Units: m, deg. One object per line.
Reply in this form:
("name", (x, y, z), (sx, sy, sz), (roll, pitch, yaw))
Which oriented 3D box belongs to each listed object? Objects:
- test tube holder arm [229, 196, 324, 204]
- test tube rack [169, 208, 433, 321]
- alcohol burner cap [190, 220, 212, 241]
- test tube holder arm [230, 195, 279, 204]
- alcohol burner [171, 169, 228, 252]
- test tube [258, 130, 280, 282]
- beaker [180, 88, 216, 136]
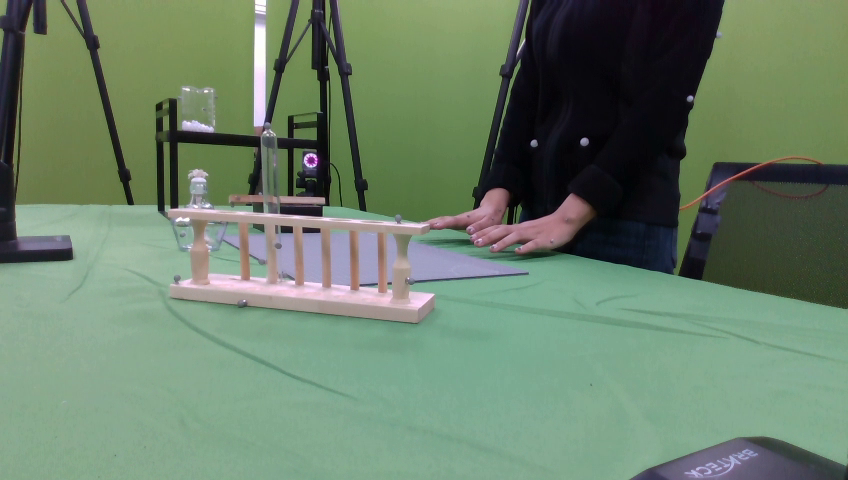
("test tube holder arm", (-0.275, -0.076, 1.143), (0.179, 0.015, 0.013), (-1, 1, -32))
("test tube rack", (-0.115, 0.018, 0.574), (0.242, 0.085, 0.067), (4, 7, 14))
("alcohol burner cap", (-0.365, -0.023, 0.988), (0.034, 0.048, 0.034), (2, 7, 0))
("test tube holder arm", (-0.311, -0.075, 1.115), (0.088, 0.015, 0.010), (-1, 1, -31))
("alcohol burner", (-0.325, -0.043, 0.875), (0.078, 0.119, 0.078), (0, 7, 0))
("test tube", (-0.152, -0.032, 0.596), (0.017, 0.150, 0.017), (0, 9, 0))
("beaker", (-0.498, -0.283, 1.339), (0.074, 0.100, 0.083), (-2, 9, -28))
